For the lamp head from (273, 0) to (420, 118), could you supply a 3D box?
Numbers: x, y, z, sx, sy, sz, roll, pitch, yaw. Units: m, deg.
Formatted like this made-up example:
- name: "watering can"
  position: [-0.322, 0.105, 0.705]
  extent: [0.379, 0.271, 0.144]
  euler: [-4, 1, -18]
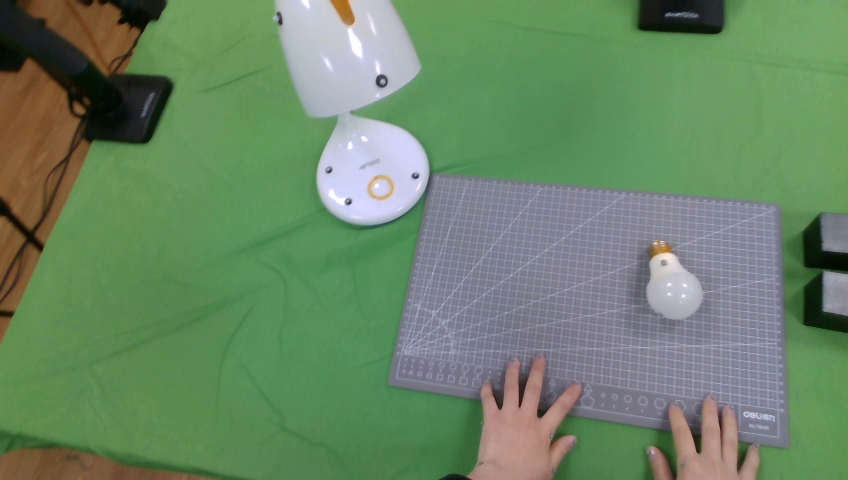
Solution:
- name: "lamp head"
  position: [-0.076, -0.181, 0.513]
  extent: [0.112, 0.124, 0.111]
  euler: [-20, 25, 10]

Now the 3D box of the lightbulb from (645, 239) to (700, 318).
- name: "lightbulb"
  position: [0.288, 0.043, 0.719]
  extent: [0.059, 0.060, 0.106]
  euler: [-7, 50, 5]

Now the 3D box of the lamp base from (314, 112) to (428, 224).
- name: "lamp base"
  position: [-0.092, -0.136, 0.783]
  extent: [0.160, 0.182, 0.177]
  euler: [-33, 63, -7]
